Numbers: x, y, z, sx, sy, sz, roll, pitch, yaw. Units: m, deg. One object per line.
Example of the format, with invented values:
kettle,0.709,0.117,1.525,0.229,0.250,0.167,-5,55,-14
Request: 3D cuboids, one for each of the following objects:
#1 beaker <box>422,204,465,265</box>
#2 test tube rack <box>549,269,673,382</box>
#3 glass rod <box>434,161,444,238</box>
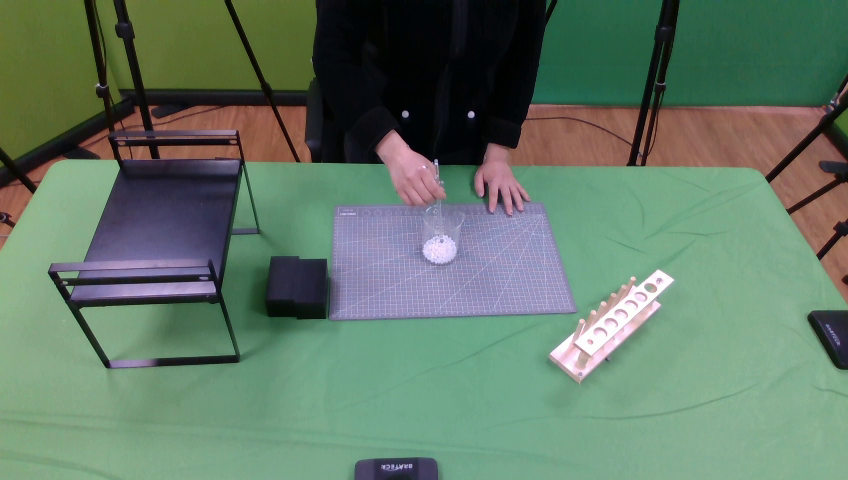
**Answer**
beaker,0.034,-0.008,1.151,0.084,0.101,0.073,-9,48,-13
test tube rack,0.325,0.134,1.047,0.242,0.085,0.066,-32,56,-30
glass rod,0.027,-0.067,1.077,0.008,0.201,0.008,-3,51,4
